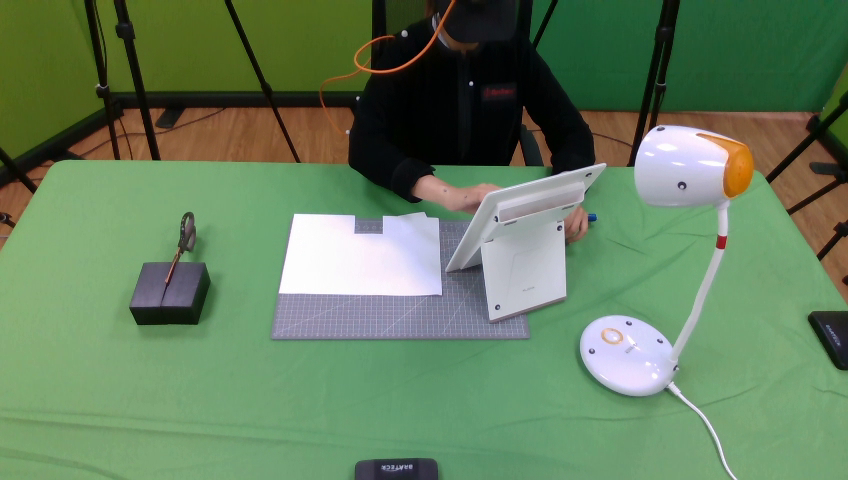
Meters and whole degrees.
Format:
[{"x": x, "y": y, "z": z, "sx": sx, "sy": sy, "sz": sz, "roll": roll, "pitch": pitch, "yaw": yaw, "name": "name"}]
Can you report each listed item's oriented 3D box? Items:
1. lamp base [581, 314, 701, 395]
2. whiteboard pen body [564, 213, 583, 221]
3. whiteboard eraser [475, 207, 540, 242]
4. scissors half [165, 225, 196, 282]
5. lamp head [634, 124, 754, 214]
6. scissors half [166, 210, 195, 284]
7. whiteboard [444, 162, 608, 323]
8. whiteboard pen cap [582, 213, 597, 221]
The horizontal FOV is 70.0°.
[{"x": 0.361, "y": 0.145, "z": 0.973, "sx": 0.178, "sy": 0.181, "sz": 0.160, "roll": 34, "pitch": 53, "yaw": 23, "name": "lamp base"}, {"x": 0.282, "y": -0.048, "z": 1.258, "sx": 0.141, "sy": 0.017, "sz": 0.017, "roll": -1, "pitch": 46, "yaw": -3, "name": "whiteboard pen body"}, {"x": 0.154, "y": -0.028, "z": 1.113, "sx": 0.113, "sy": 0.056, "sz": 0.041, "roll": -15, "pitch": 76, "yaw": -16, "name": "whiteboard eraser"}, {"x": -0.444, "y": 0.026, "z": 1.107, "sx": 0.013, "sy": 0.040, "sz": 0.174, "roll": 4, "pitch": 30, "yaw": -5, "name": "scissors half"}, {"x": 0.351, "y": -0.089, "z": 0.776, "sx": 0.112, "sy": 0.113, "sz": 0.122, "roll": -30, "pitch": 30, "yaw": -28, "name": "lamp head"}, {"x": -0.440, "y": 0.010, "z": 1.094, "sx": 0.013, "sy": 0.040, "sz": 0.174, "roll": 8, "pitch": 49, "yaw": -9, "name": "scissors half"}, {"x": 0.186, "y": 0.025, "z": 1.029, "sx": 0.217, "sy": 0.306, "sz": 0.143, "roll": -14, "pitch": 68, "yaw": -18, "name": "whiteboard"}, {"x": 0.342, "y": -0.047, "z": 1.260, "sx": 0.033, "sy": 0.018, "sz": 0.018, "roll": -3, "pitch": 46, "yaw": -3, "name": "whiteboard pen cap"}]
